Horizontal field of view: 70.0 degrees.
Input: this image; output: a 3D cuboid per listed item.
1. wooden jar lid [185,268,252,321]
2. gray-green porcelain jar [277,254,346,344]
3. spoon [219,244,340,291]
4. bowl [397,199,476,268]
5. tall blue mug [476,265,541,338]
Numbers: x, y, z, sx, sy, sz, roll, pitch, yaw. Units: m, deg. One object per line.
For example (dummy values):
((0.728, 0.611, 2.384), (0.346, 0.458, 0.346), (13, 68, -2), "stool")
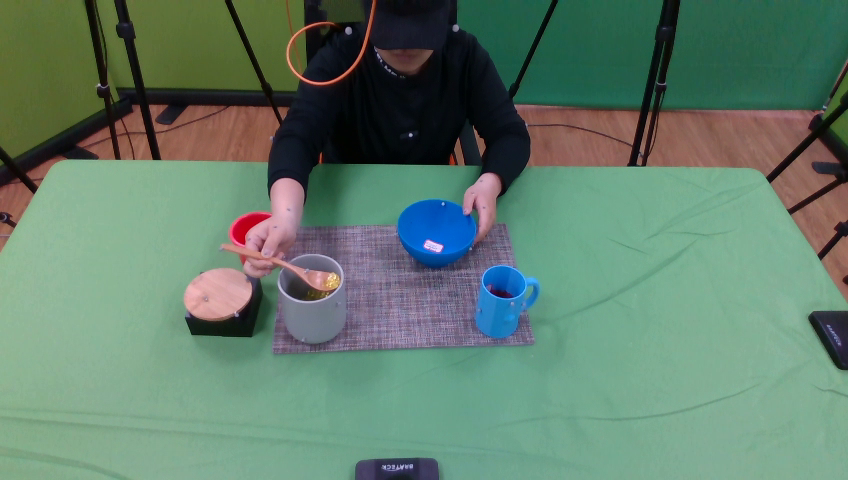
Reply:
((-0.343, 0.093, 1.015), (0.108, 0.021, 0.107), (3, 46, -3), "wooden jar lid")
((-0.184, 0.102, 1.008), (0.106, 0.127, 0.105), (2, 46, -2), "gray-green porcelain jar")
((-0.227, 0.039, 0.959), (0.194, 0.022, 0.041), (23, 42, -11), "spoon")
((0.022, -0.001, 1.157), (0.151, 0.077, 0.150), (2, 46, -2), "bowl")
((0.142, 0.099, 1.047), (0.077, 0.108, 0.107), (33, 52, 27), "tall blue mug")
